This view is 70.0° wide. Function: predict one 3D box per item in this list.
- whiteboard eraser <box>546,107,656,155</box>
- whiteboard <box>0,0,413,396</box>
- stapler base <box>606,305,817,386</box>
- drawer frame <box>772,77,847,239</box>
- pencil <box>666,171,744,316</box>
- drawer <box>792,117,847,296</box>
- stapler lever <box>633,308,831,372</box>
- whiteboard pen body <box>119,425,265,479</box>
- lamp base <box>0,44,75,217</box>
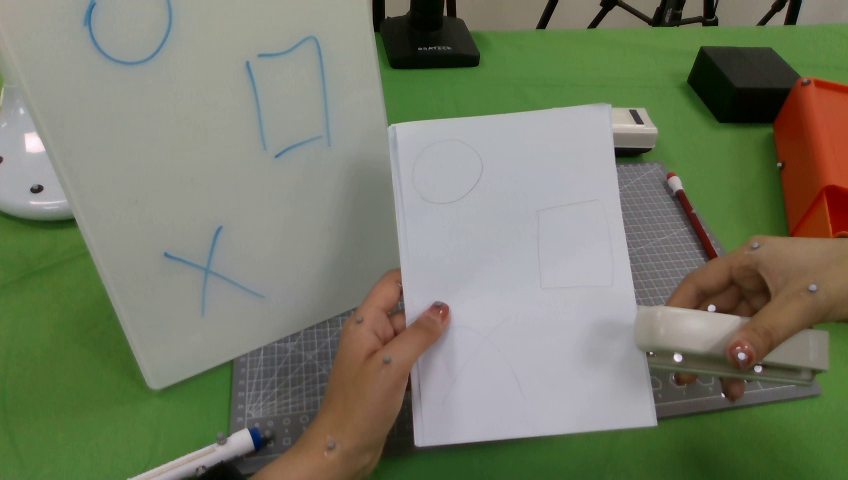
[{"bbox_3d":[0.197,-0.122,0.680,0.113,0.042,0.055,0,46,-6],"label":"whiteboard eraser"},{"bbox_3d":[-0.152,-0.081,0.457,0.217,0.308,0.142,-21,31,-23],"label":"whiteboard"},{"bbox_3d":[0.185,0.065,0.384,0.130,0.024,0.041,5,81,6],"label":"stapler base"},{"bbox_3d":[0.484,-0.068,0.626,0.201,0.083,0.212,14,45,9],"label":"drawer frame"},{"bbox_3d":[0.269,0.000,0.585,0.012,0.012,0.192,0,48,-6],"label":"pencil"},{"bbox_3d":[0.465,-0.025,0.583,0.194,0.074,0.210,15,45,10],"label":"drawer"},{"bbox_3d":[0.184,0.059,0.358,0.118,0.040,0.026,5,80,4],"label":"stapler lever"},{"bbox_3d":[-0.170,0.150,0.381,0.141,0.017,0.017,-17,49,-25],"label":"whiteboard pen body"},{"bbox_3d":[-0.347,-0.137,0.539,0.178,0.182,0.160,24,48,21],"label":"lamp base"}]
